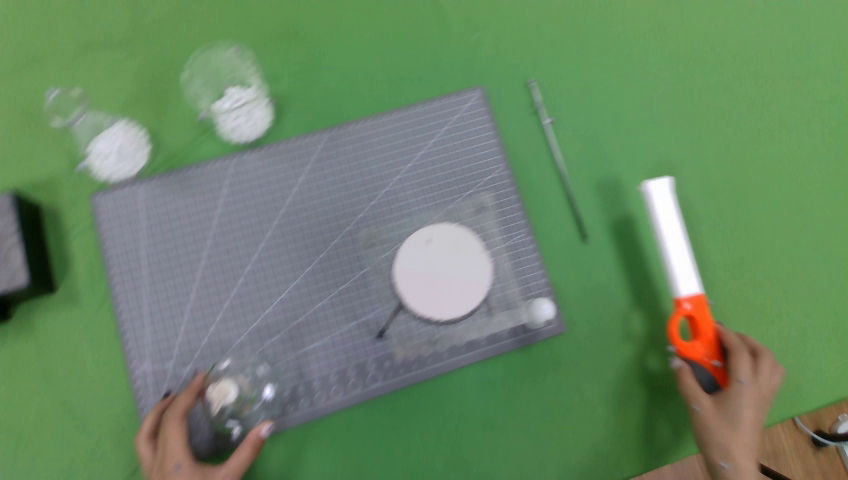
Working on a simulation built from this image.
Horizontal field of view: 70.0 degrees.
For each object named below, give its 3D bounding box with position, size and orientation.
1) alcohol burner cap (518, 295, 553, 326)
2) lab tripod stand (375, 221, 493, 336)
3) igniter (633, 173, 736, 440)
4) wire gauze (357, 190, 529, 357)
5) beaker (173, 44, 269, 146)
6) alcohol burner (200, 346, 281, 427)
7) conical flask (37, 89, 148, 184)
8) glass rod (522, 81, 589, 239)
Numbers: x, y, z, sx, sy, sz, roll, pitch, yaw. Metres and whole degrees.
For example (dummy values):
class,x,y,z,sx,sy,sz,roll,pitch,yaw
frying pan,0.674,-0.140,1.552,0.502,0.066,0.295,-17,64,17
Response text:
class,x,y,z,sx,sy,sz,roll,pitch,yaw
alcohol burner cap,0.121,0.073,0.643,0.034,0.048,0.033,1,79,-3
lab tripod stand,0.008,0.044,0.594,0.148,0.132,0.148,1,81,-3
igniter,0.270,0.066,0.629,0.057,0.025,0.275,-12,82,-10
wire gauze,0.016,0.028,0.529,0.125,0.011,0.121,-16,82,-5
beaker,-0.204,-0.146,0.637,0.084,0.100,0.074,18,78,-1
alcohol burner,-0.177,0.139,0.574,0.078,0.119,0.077,1,80,-4
conical flask,-0.336,-0.108,0.609,0.075,0.122,0.075,1,79,-4
glass rod,0.150,-0.094,0.695,0.008,0.008,0.199,-18,80,-7
